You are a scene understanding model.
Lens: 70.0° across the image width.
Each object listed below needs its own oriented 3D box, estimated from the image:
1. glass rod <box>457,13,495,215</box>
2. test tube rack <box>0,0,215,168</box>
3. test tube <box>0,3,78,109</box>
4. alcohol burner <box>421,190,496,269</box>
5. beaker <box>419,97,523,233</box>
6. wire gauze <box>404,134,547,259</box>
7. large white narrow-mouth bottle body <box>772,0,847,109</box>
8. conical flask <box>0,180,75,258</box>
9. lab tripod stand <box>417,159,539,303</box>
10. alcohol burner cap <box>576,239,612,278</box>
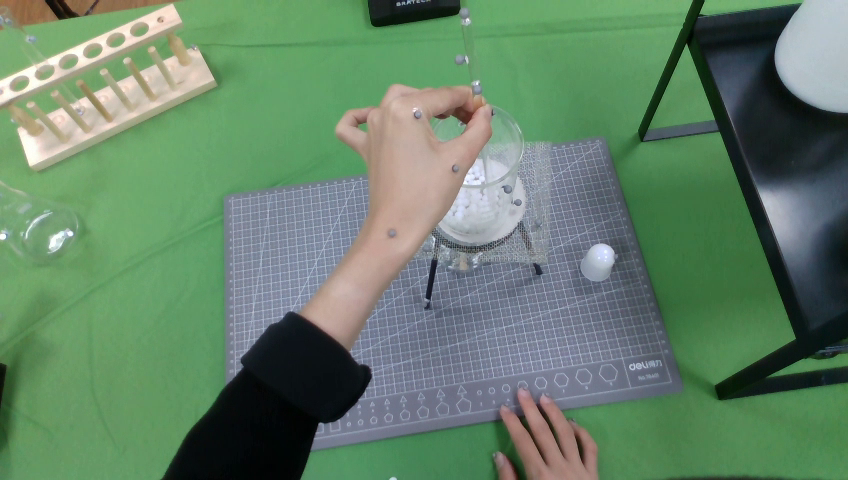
[{"bbox_3d":[0.040,-0.078,0.443,0.008,0.202,0.008,-6,55,9],"label":"glass rod"},{"bbox_3d":[-0.390,-0.187,0.729,0.242,0.086,0.066,-28,68,-9],"label":"test tube rack"},{"bbox_3d":[-0.437,-0.203,0.684,0.017,0.151,0.017,-1,60,3],"label":"test tube"},{"bbox_3d":[0.035,-0.016,0.612,0.078,0.120,0.077,-1,65,2],"label":"alcohol burner"},{"bbox_3d":[0.036,-0.054,0.493,0.084,0.101,0.073,-31,69,-9],"label":"beaker"},{"bbox_3d":[0.049,-0.040,0.539,0.121,0.011,0.124,5,65,3],"label":"wire gauze"},{"bbox_3d":[0.338,-0.186,0.430,0.102,0.196,0.101,-2,67,5],"label":"large white narrow-mouth bottle body"},{"bbox_3d":[-0.442,-0.035,0.647,0.075,0.123,0.075,-1,66,3],"label":"conical flask"},{"bbox_3d":[0.047,-0.009,0.598,0.148,0.132,0.147,-1,65,2],"label":"lab tripod stand"},{"bbox_3d":[0.178,0.016,0.629,0.034,0.048,0.033,-1,66,3],"label":"alcohol burner cap"}]
